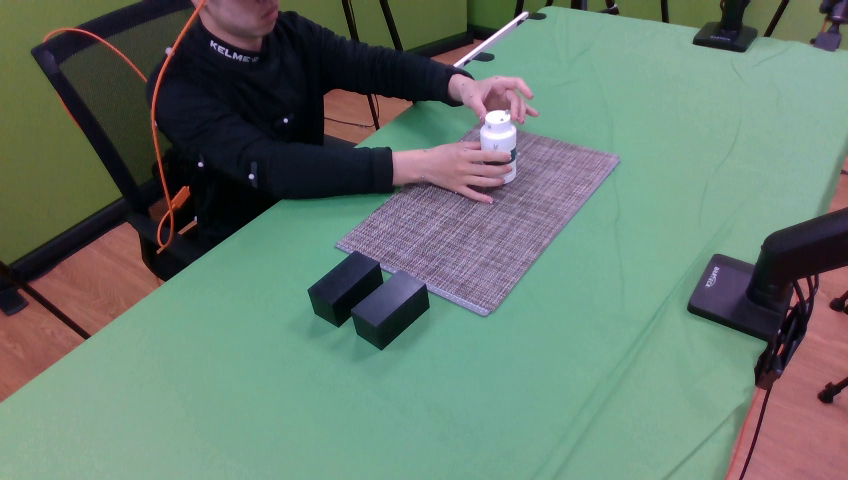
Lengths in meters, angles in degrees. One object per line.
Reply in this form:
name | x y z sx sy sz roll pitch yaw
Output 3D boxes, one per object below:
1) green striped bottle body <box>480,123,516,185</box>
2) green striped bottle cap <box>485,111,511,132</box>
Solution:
green striped bottle body | 0.130 -0.162 1.057 0.063 0.120 0.063 -4 40 4
green striped bottle cap | 0.125 -0.201 1.024 0.044 0.020 0.044 -4 38 4
